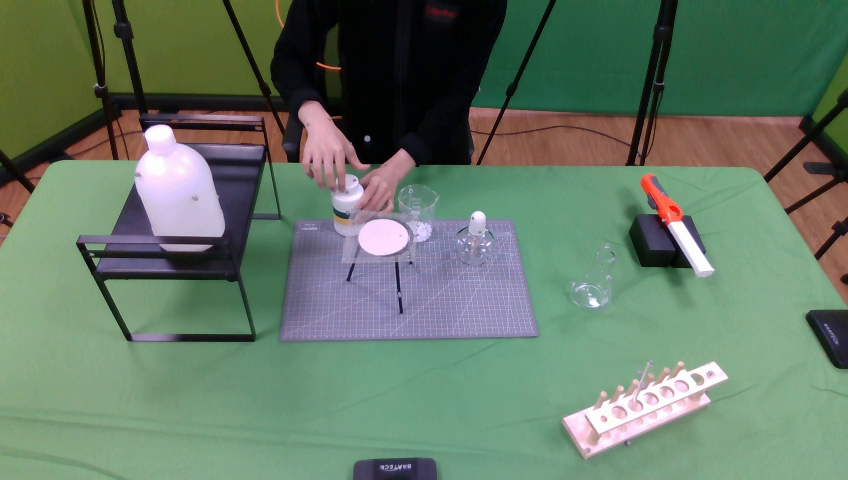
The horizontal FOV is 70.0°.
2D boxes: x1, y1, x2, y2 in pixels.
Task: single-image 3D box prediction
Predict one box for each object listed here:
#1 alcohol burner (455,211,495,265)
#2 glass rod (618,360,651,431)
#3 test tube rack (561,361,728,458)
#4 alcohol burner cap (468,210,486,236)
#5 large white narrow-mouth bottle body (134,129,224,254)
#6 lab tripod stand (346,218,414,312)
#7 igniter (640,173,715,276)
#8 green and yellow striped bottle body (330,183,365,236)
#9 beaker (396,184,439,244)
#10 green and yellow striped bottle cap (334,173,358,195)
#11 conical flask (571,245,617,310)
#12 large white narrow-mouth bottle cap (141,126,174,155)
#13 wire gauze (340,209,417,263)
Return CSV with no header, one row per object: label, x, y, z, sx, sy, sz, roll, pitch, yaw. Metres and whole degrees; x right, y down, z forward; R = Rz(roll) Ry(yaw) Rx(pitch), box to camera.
alcohol burner,0.097,-0.010,1.147,0.078,0.120,0.077,1,47,-1
glass rod,0.298,0.227,0.865,0.008,0.201,0.008,-1,48,2
test tube rack,0.341,0.248,0.940,0.243,0.085,0.066,-15,49,-18
alcohol burner cap,0.099,-0.034,1.119,0.034,0.048,0.033,0,53,0
large white narrow-mouth bottle body,-0.358,-0.075,0.875,0.102,0.195,0.101,1,48,-1
lab tripod stand,-0.070,0.037,1.075,0.148,0.132,0.147,1,48,-1
igniter,0.495,-0.039,1.204,0.057,0.025,0.274,-2,47,-12
green and yellow striped bottle body,-0.149,-0.070,1.181,0.063,0.120,0.063,2,46,-2
beaker,-0.014,-0.049,1.186,0.084,0.101,0.073,-8,48,-13
green and yellow striped bottle cap,-0.147,-0.106,1.143,0.045,0.020,0.045,3,45,-3
conical flask,0.313,0.064,1.089,0.075,0.122,0.075,2,46,-2
large white narrow-mouth bottle cap,-0.356,-0.133,0.811,0.038,0.024,0.037,2,48,-1
wire gauze,-0.074,-0.007,1.023,0.121,0.011,0.124,3,46,0
